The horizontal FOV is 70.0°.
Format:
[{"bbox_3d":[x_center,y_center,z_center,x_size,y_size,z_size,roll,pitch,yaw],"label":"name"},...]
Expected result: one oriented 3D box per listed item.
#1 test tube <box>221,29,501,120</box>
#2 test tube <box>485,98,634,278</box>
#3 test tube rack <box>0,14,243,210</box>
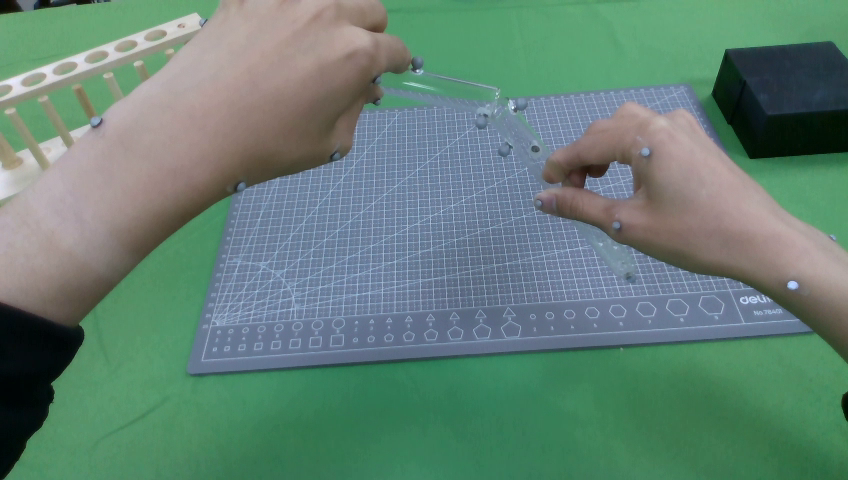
[{"bbox_3d":[-0.034,-0.088,0.317,0.150,0.017,0.017,14,51,2],"label":"test tube"},{"bbox_3d":[0.084,-0.024,0.354,0.017,0.152,0.017,-31,33,24],"label":"test tube"},{"bbox_3d":[-0.314,-0.129,0.594,0.242,0.086,0.066,-29,52,-18],"label":"test tube rack"}]
